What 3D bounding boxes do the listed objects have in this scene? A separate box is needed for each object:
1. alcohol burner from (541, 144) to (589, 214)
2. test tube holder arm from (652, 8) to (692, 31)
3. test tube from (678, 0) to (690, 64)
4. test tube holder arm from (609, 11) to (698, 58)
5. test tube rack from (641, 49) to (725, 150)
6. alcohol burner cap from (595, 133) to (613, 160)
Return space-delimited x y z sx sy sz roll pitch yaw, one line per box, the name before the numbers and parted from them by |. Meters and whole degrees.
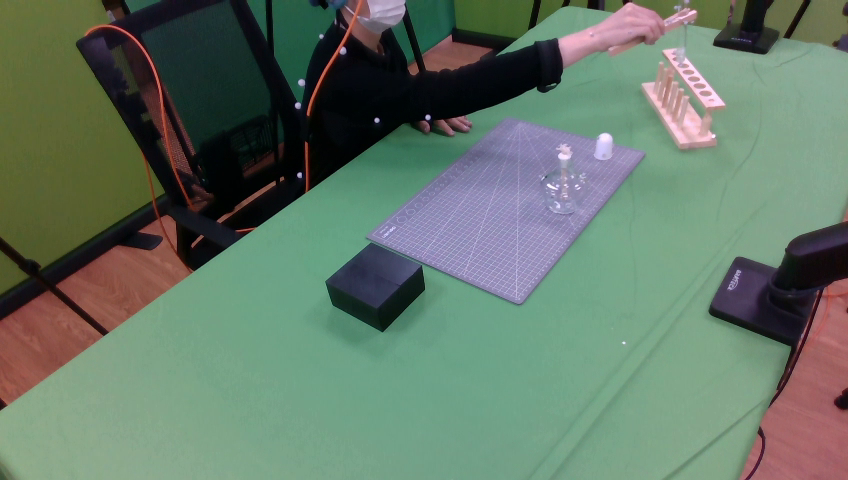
alcohol burner | 0.229 -0.102 0.983 0.078 0.119 0.077 -6 41 5
test tube holder arm | 0.433 -0.380 1.056 0.088 0.015 0.010 -32 48 -15
test tube | 0.460 -0.377 1.072 0.017 0.151 0.017 -10 48 12
test tube holder arm | 0.397 -0.356 1.043 0.179 0.015 0.013 -27 46 -10
test tube rack | 0.495 -0.279 1.175 0.067 0.085 0.241 -5 41 3
alcohol burner cap | 0.330 -0.172 1.104 0.034 0.048 0.033 -5 41 5
